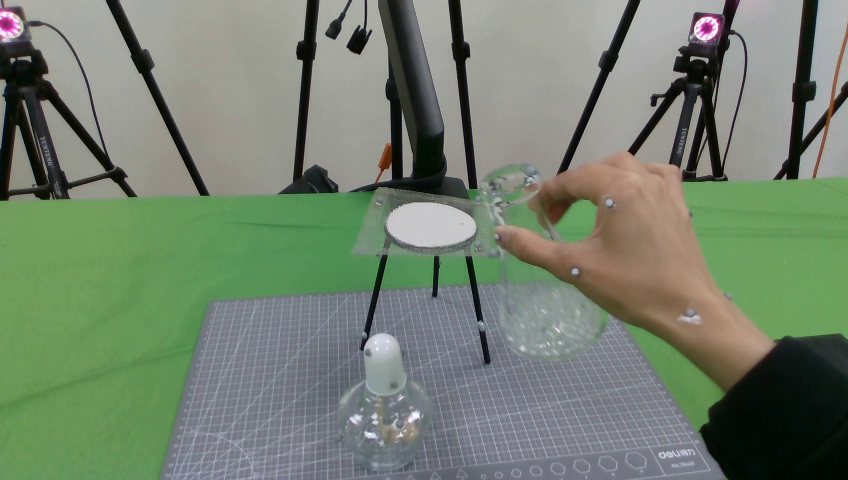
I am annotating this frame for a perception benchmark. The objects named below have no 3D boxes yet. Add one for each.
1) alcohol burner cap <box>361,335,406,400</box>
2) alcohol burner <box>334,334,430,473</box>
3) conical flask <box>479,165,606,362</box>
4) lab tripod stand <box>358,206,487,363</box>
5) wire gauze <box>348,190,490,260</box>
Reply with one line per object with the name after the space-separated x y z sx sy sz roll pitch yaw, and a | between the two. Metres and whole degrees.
-0.032 0.094 0.462 0.034 0.048 0.033 -4 34 3 | alcohol burner cap
-0.033 0.125 0.481 0.078 0.120 0.077 1 29 0 | alcohol burner
0.070 0.013 0.392 0.075 0.123 0.074 -17 29 10 | conical flask
0.006 0.044 0.604 0.148 0.132 0.147 3 30 -2 | lab tripod stand
0.001 -0.014 0.570 0.121 0.011 0.124 5 31 4 | wire gauze
